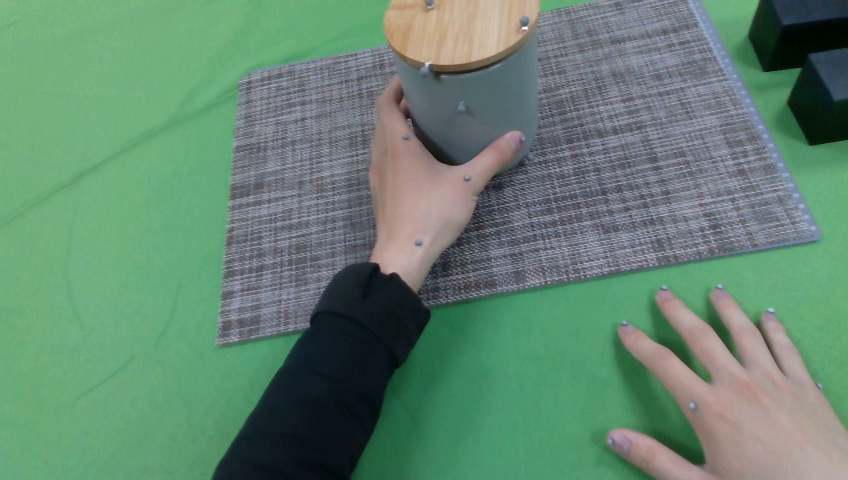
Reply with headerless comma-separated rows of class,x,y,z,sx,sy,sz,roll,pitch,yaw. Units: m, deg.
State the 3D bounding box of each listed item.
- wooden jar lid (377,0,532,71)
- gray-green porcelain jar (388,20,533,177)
wooden jar lid,0.022,-0.153,0.424,0.108,0.021,0.107,-4,57,7
gray-green porcelain jar,0.033,-0.120,0.478,0.106,0.128,0.105,-5,58,8
